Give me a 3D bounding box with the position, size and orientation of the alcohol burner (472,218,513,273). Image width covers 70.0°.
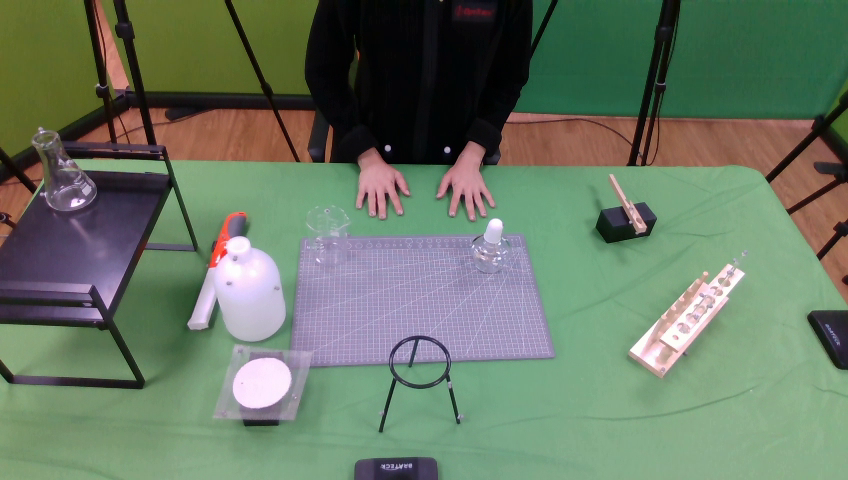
[{"bbox_3d":[0.129,0.005,1.132,0.078,0.120,0.077,0,47,0],"label":"alcohol burner"}]

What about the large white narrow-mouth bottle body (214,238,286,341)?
[{"bbox_3d":[-0.285,0.073,0.986,0.102,0.195,0.101,2,46,-2],"label":"large white narrow-mouth bottle body"}]

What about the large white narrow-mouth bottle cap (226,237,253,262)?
[{"bbox_3d":[-0.281,0.014,0.923,0.038,0.024,0.037,2,46,-2],"label":"large white narrow-mouth bottle cap"}]

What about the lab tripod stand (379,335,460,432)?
[{"bbox_3d":[-0.011,0.214,0.911,0.148,0.132,0.147,1,45,0],"label":"lab tripod stand"}]

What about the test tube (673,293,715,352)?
[{"bbox_3d":[0.429,0.137,0.979,0.017,0.151,0.017,5,46,-5],"label":"test tube"}]

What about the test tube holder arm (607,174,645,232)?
[{"bbox_3d":[0.411,-0.080,1.238,0.013,0.015,0.177,1,41,-13],"label":"test tube holder arm"}]

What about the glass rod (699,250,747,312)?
[{"bbox_3d":[0.500,0.075,1.021,0.008,0.201,0.008,0,55,1],"label":"glass rod"}]

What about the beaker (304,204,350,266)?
[{"bbox_3d":[-0.178,-0.006,1.132,0.084,0.101,0.073,4,46,-1],"label":"beaker"}]

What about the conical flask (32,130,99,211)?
[{"bbox_3d":[-0.565,-0.110,0.944,0.075,0.122,0.075,2,46,-2],"label":"conical flask"}]

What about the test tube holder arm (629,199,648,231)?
[{"bbox_3d":[0.423,-0.050,1.206,0.010,0.015,0.087,1,41,-12],"label":"test tube holder arm"}]

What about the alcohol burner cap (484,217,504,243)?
[{"bbox_3d":[0.130,-0.021,1.107,0.034,0.048,0.033,5,46,-5],"label":"alcohol burner cap"}]

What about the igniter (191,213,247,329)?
[{"bbox_3d":[-0.376,0.047,1.121,0.057,0.025,0.275,-4,46,6],"label":"igniter"}]

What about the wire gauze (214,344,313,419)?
[{"bbox_3d":[-0.241,0.213,0.916,0.121,0.011,0.124,5,46,1],"label":"wire gauze"}]

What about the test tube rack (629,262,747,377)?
[{"bbox_3d":[0.464,0.126,1.060,0.242,0.085,0.066,-34,56,-31],"label":"test tube rack"}]
